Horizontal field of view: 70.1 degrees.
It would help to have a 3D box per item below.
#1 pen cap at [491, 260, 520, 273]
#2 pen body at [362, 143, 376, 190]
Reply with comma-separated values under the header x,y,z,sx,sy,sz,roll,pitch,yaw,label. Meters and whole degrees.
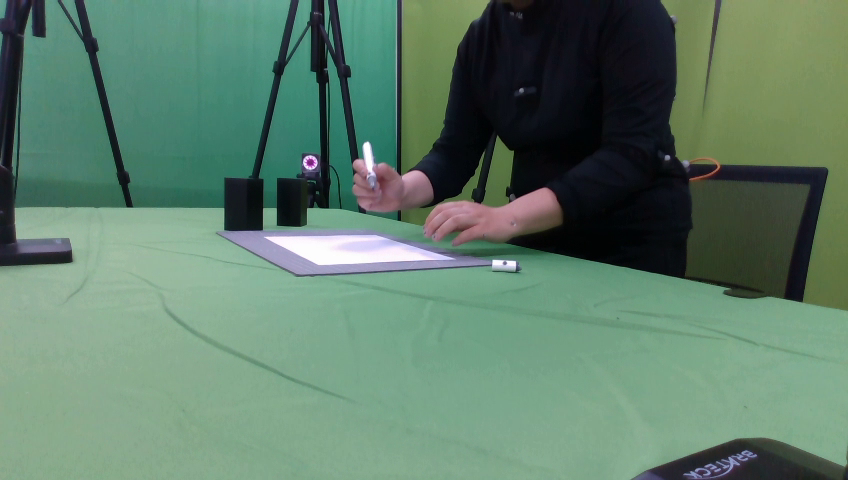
x,y,z,sx,sy,sz,roll,pitch,yaw,label
0.110,0.036,0.813,0.038,0.017,0.017,3,7,7,pen cap
-0.093,-0.124,1.028,0.017,0.017,0.143,1,37,-12,pen body
